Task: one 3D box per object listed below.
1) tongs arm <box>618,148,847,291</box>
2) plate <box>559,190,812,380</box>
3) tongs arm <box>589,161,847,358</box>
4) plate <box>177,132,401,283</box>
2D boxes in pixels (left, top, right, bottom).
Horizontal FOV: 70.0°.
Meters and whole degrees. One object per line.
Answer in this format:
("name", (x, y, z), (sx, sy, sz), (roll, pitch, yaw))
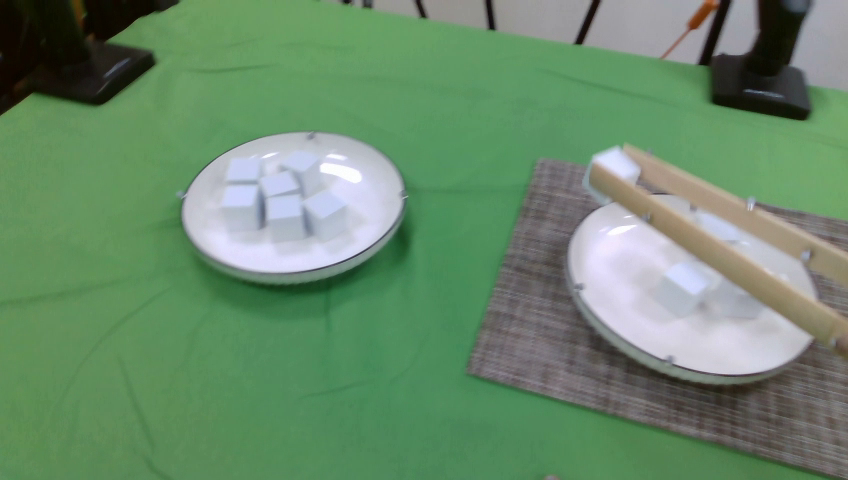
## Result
("tongs arm", (0.270, 0.031, 0.402), (0.051, 0.027, 0.380), (-30, 47, -25))
("plate", (0.220, 0.036, 0.530), (0.208, 0.039, 0.205), (1, 45, -1))
("tongs arm", (0.251, 0.041, 0.393), (0.028, 0.028, 0.383), (-24, 44, -25))
("plate", (-0.126, -0.032, 0.590), (0.209, 0.038, 0.207), (2, 44, -1))
